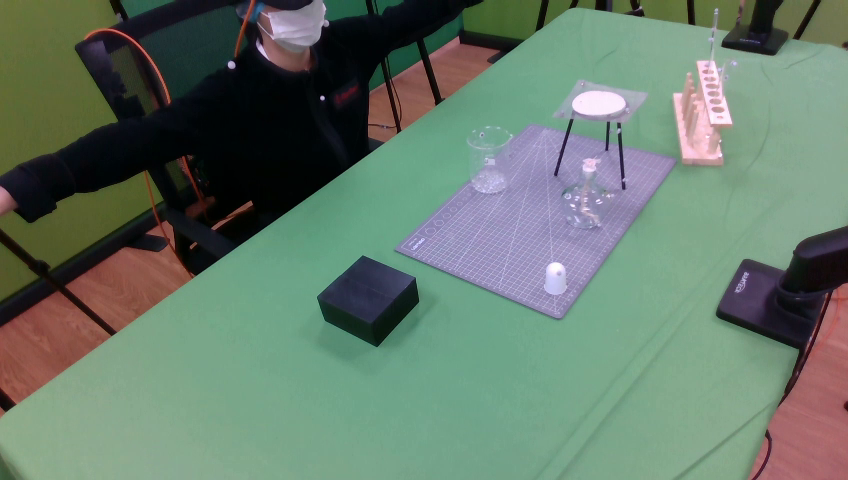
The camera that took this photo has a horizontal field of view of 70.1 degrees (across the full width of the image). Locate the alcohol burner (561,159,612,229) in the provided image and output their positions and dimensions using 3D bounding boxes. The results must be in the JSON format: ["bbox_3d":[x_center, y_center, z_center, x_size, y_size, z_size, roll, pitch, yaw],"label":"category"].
[{"bbox_3d":[0.257,-0.077,0.951,0.078,0.119,0.077,-3,40,3],"label":"alcohol burner"}]

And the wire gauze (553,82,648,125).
[{"bbox_3d":[0.293,-0.226,1.002,0.120,0.011,0.125,17,45,27],"label":"wire gauze"}]

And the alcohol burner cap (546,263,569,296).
[{"bbox_3d":[0.191,0.053,0.862,0.034,0.048,0.033,-5,40,4],"label":"alcohol burner cap"}]

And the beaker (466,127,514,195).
[{"bbox_3d":[0.117,-0.136,1.056,0.084,0.101,0.073,-9,40,-3],"label":"beaker"}]

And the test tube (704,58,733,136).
[{"bbox_3d":[0.516,-0.247,1.062,0.017,0.151,0.017,-3,43,4],"label":"test tube"}]

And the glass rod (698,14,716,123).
[{"bbox_3d":[0.532,-0.320,1.136,0.008,0.200,0.008,3,12,0],"label":"glass rod"}]

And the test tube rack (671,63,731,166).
[{"bbox_3d":[0.513,-0.241,1.132,0.066,0.085,0.242,4,41,14],"label":"test tube rack"}]

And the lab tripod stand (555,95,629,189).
[{"bbox_3d":[0.300,-0.174,1.045,0.148,0.132,0.147,-5,38,5],"label":"lab tripod stand"}]
